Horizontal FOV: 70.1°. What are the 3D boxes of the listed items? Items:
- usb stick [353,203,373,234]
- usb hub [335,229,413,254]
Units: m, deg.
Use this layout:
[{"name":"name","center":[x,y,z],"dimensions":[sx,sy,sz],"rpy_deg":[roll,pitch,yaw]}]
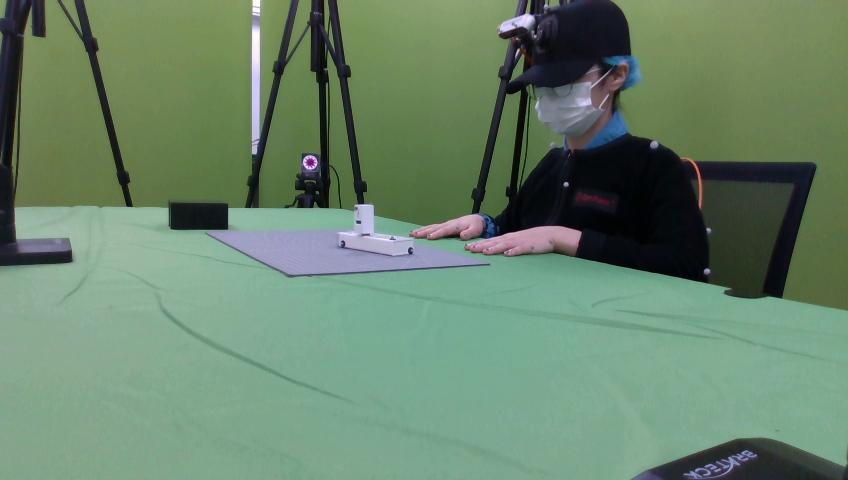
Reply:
[{"name":"usb stick","center":[-0.094,-0.028,0.936],"dimensions":[0.021,0.059,0.027],"rpy_deg":[5,11,39]},{"name":"usb hub","center":[-0.080,0.001,0.947],"dimensions":[0.124,0.025,0.050],"rpy_deg":[7,10,39]}]
